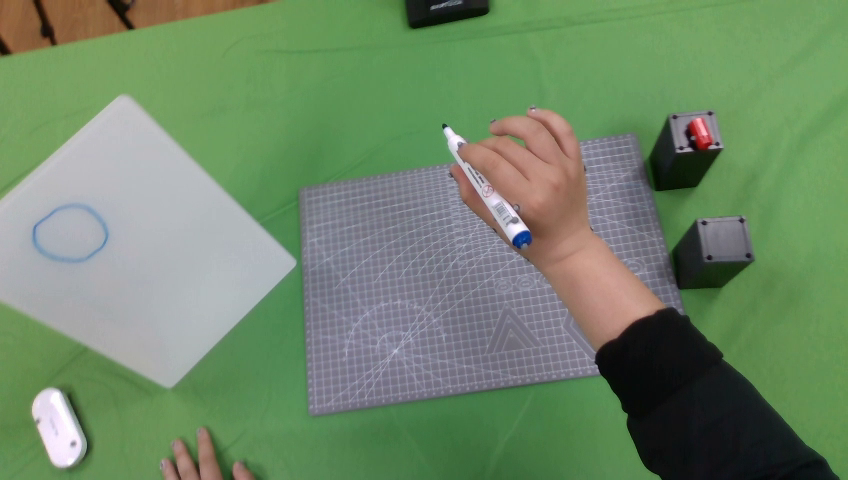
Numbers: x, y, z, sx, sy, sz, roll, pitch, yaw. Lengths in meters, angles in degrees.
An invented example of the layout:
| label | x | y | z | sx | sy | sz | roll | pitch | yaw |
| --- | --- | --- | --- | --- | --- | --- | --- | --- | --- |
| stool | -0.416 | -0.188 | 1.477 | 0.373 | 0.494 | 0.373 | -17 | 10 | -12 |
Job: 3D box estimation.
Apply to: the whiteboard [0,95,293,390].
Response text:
| label | x | y | z | sx | sy | sz | roll | pitch | yaw |
| --- | --- | --- | --- | --- | --- | --- | --- | --- | --- |
| whiteboard | -0.338 | -0.005 | 0.685 | 0.217 | 0.309 | 0.142 | -46 | 52 | -9 |

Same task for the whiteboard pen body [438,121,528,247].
| label | x | y | z | sx | sy | sz | roll | pitch | yaw |
| --- | --- | --- | --- | --- | --- | --- | --- | --- | --- |
| whiteboard pen body | 0.041 | -0.049 | 0.470 | 0.017 | 0.017 | 0.139 | -27 | 56 | -3 |

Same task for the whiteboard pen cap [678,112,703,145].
| label | x | y | z | sx | sy | sz | roll | pitch | yaw |
| --- | --- | --- | --- | --- | --- | --- | --- | --- | --- |
| whiteboard pen cap | 0.292 | -0.122 | 0.662 | 0.017 | 0.017 | 0.032 | -14 | 71 | 2 |

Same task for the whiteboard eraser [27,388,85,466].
| label | x | y | z | sx | sy | sz | roll | pitch | yaw |
| --- | --- | --- | --- | --- | --- | --- | --- | --- | --- |
| whiteboard eraser | -0.447 | 0.226 | 0.733 | 0.041 | 0.019 | 0.100 | -35 | 71 | -7 |
